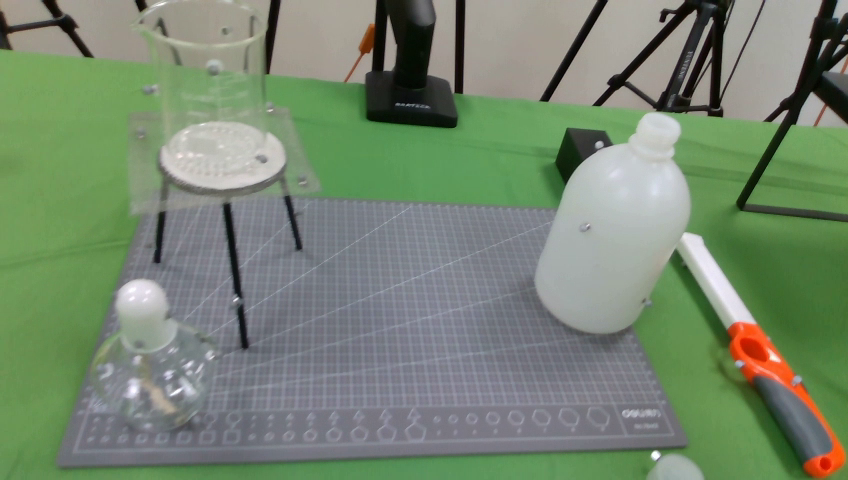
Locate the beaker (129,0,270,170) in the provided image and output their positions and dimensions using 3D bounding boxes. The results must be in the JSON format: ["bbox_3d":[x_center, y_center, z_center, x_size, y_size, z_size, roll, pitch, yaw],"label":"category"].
[{"bbox_3d":[-0.147,-0.105,0.410,0.084,0.101,0.073,-3,44,-16],"label":"beaker"}]

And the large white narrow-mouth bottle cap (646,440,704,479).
[{"bbox_3d":[0.183,0.168,0.442,0.038,0.024,0.037,6,41,-5],"label":"large white narrow-mouth bottle cap"}]

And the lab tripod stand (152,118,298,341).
[{"bbox_3d":[-0.155,-0.015,0.482,0.149,0.132,0.147,8,41,-7],"label":"lab tripod stand"}]

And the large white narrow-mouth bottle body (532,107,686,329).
[{"bbox_3d":[0.162,-0.020,0.514,0.102,0.196,0.101,6,41,-5],"label":"large white narrow-mouth bottle body"}]

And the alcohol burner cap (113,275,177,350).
[{"bbox_3d":[-0.172,0.042,0.371,0.034,0.048,0.033,6,47,-6],"label":"alcohol burner cap"}]

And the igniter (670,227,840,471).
[{"bbox_3d":[0.293,0.084,0.559,0.057,0.025,0.273,11,39,-17],"label":"igniter"}]

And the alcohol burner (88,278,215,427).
[{"bbox_3d":[-0.178,0.068,0.396,0.078,0.120,0.077,8,39,-6],"label":"alcohol burner"}]

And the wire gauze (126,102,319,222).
[{"bbox_3d":[-0.149,-0.066,0.441,0.122,0.011,0.123,-9,48,-20],"label":"wire gauze"}]
